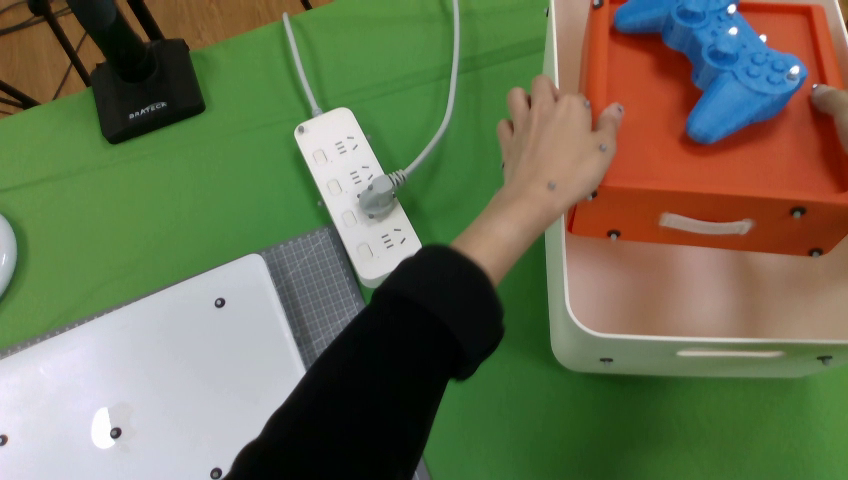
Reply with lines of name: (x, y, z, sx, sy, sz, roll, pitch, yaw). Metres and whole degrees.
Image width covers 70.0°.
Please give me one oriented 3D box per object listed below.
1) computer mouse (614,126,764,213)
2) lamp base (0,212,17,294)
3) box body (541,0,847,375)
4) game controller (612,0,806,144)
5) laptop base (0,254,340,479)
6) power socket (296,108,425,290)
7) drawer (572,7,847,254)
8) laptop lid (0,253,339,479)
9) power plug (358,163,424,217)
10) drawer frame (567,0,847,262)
computer mouse: (0.220, -0.063, 0.504, 0.117, 0.041, 0.062, 10, 64, 16)
lamp base: (-0.534, -0.008, 0.581, 0.178, 0.182, 0.160, 24, 69, 17)
box body: (0.242, -0.062, 0.565, 0.254, 0.161, 0.361, 1, 66, 4)
game controller: (0.224, -0.152, 0.477, 0.097, 0.052, 0.153, -13, 60, -9)
laptop base: (-0.279, 0.178, 0.570, 0.354, 0.023, 0.233, -24, 70, -7)
power socket: (-0.071, -0.050, 0.651, 0.072, 0.033, 0.224, -24, 67, -9)
drawer: (0.229, -0.099, 0.506, 0.194, 0.074, 0.210, 5, 60, 10)
laptop lid: (-0.279, 0.176, 0.559, 0.357, 0.013, 0.239, -22, 69, -6)
power plug: (-0.031, -0.045, 0.621, 0.072, 0.053, 0.035, -13, 65, -3)
drawer frame: (0.229, -0.100, 0.507, 0.201, 0.083, 0.212, 6, 60, 8)
